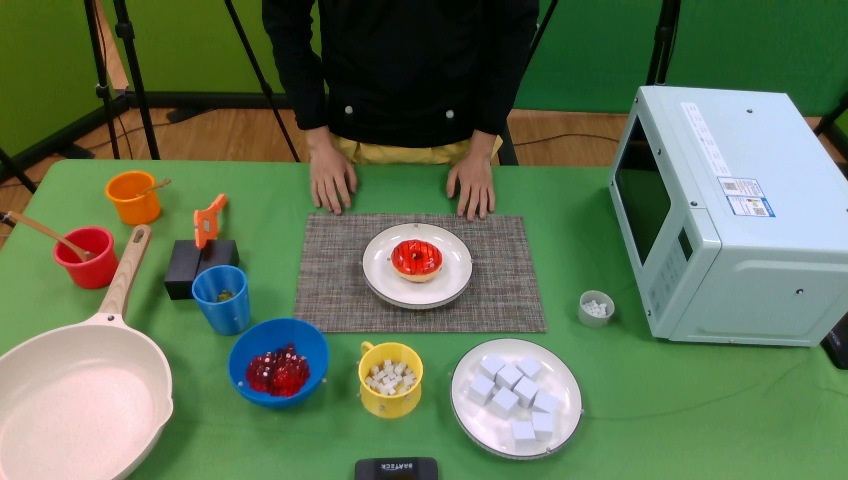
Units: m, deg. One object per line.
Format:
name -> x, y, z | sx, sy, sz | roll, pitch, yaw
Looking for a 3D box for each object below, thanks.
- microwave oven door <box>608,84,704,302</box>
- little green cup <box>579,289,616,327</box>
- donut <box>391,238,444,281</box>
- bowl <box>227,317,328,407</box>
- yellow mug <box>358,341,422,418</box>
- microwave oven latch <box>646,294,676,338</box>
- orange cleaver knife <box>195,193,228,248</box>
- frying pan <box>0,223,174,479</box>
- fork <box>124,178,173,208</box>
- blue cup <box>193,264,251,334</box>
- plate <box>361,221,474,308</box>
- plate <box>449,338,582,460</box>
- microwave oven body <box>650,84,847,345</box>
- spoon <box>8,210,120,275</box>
microwave oven door -> 0.424, -0.096, 1.138 | 0.039, 0.245, 0.353 | 3, 46, -1
little green cup -> 0.308, 0.124, 1.085 | 0.061, 0.039, 0.061 | 2, 46, -2
donut -> -0.012, 0.035, 1.128 | 0.099, 0.048, 0.098 | 3, 43, -3
bowl -> -0.222, 0.203, 0.947 | 0.151, 0.077, 0.150 | 2, 46, -2
yellow mug -> -0.063, 0.210, 0.961 | 0.100, 0.064, 0.130 | -29, 54, -28
microwave oven latch -> 0.412, 0.133, 1.060 | 0.030, 0.029, 0.078 | 4, 46, 1
orange cleaver knife -> -0.406, -0.041, 1.163 | 0.012, 0.077, 0.210 | 0, 18, -4
frying pan -> -0.505, 0.169, 0.941 | 0.307, 0.103, 0.485 | 5, 54, -1
fork -> -0.525, -0.089, 1.153 | 0.207, 0.019, 0.028 | -18, 27, 45
blue cup -> -0.331, 0.105, 1.016 | 0.093, 0.101, 0.092 | 1, 45, -1
plate -> -0.011, 0.049, 1.130 | 0.209, 0.038, 0.208 | 2, 46, -2
plate -> 0.141, 0.251, 0.955 | 0.208, 0.039, 0.206 | 2, 46, -2
microwave oven body -> 0.569, -0.054, 1.116 | 0.326, 0.261, 0.439 | 2, 46, -1
spoon -> -0.628, 0.002, 1.063 | 0.195, 0.021, 0.041 | 40, 41, -27
